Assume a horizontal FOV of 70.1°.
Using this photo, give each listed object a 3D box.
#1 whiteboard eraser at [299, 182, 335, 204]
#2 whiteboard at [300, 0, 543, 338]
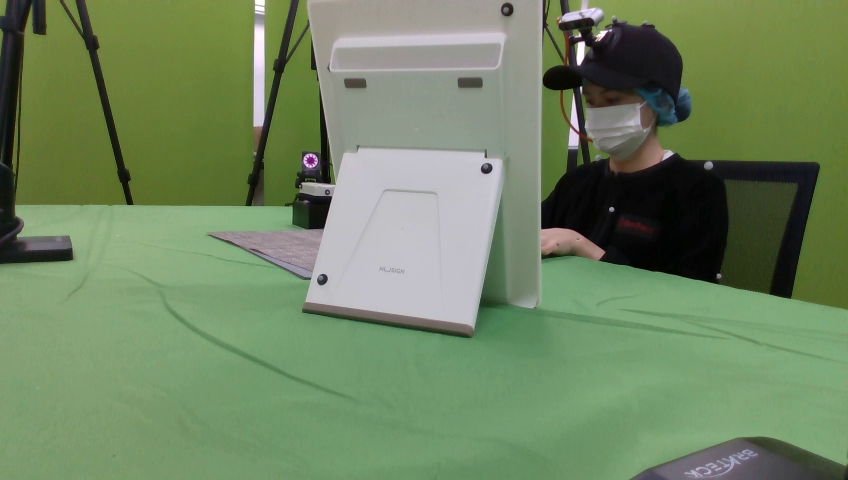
[{"bbox_3d":[-0.214,-0.097,1.231,0.056,0.042,0.112,-3,9,-28],"label":"whiteboard eraser"},{"bbox_3d":[-0.020,-0.050,0.523,0.216,0.305,0.144,6,27,22],"label":"whiteboard"}]
